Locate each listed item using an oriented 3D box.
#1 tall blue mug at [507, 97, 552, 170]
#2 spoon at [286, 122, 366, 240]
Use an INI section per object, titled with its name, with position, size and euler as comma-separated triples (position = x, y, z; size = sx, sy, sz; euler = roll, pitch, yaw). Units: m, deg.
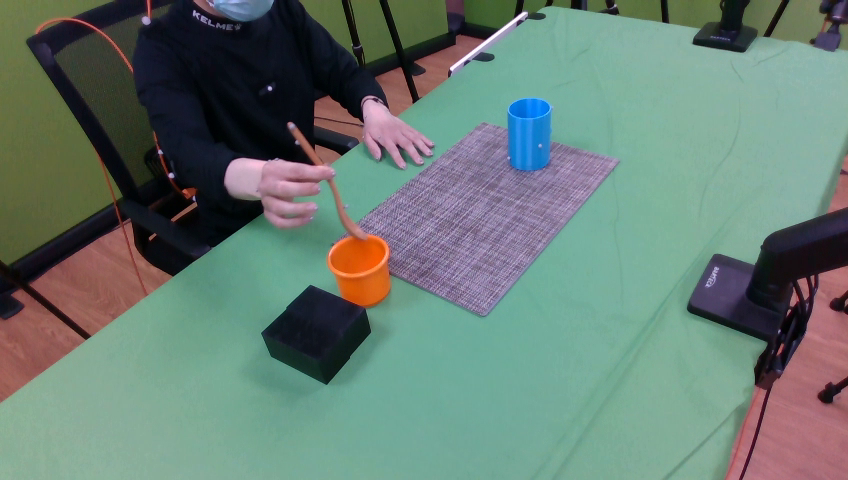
[tall blue mug]
position = 0.179, -0.198, 1.101
size = 0.078, 0.108, 0.106
euler = -36, 49, -28
[spoon]
position = -0.127, -0.074, 0.798
size = 0.021, 0.195, 0.041
euler = -24, 31, 2
